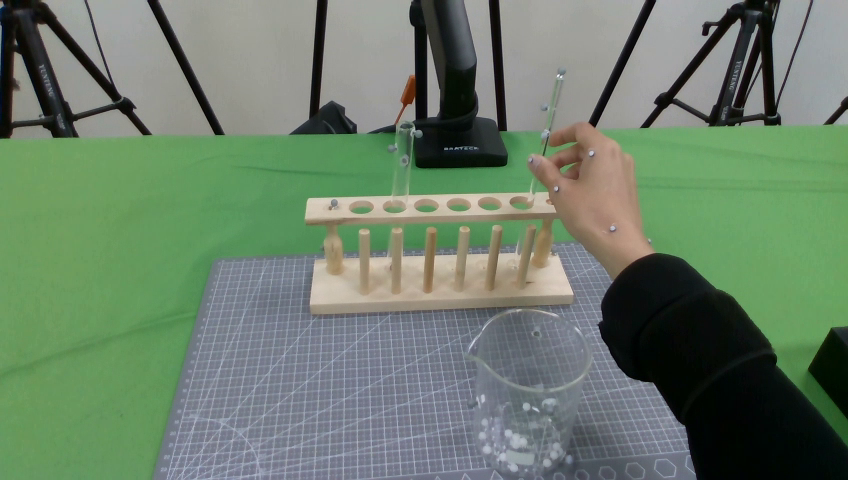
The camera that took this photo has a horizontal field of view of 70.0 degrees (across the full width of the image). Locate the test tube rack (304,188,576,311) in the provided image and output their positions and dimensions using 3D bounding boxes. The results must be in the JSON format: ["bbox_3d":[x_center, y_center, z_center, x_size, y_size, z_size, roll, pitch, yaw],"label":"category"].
[{"bbox_3d":[0.015,0.008,0.558,0.243,0.086,0.066,-2,38,-5],"label":"test tube rack"}]

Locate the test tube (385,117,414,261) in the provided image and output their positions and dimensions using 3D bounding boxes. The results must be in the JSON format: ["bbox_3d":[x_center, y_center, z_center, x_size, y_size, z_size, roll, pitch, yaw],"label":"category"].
[{"bbox_3d":[-0.023,-0.039,0.536,0.017,0.151,0.017,5,39,-3],"label":"test tube"}]

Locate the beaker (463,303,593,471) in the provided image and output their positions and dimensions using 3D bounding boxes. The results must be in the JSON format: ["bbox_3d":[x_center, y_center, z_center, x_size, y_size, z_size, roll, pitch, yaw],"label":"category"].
[{"bbox_3d":[0.068,0.105,0.421,0.084,0.101,0.073,-1,37,-2],"label":"beaker"}]

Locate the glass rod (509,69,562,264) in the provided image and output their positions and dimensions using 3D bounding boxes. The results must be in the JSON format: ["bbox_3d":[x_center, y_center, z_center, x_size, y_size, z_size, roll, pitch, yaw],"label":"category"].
[{"bbox_3d":[0.095,-0.054,0.532,0.008,0.201,0.008,4,39,-3],"label":"glass rod"}]
